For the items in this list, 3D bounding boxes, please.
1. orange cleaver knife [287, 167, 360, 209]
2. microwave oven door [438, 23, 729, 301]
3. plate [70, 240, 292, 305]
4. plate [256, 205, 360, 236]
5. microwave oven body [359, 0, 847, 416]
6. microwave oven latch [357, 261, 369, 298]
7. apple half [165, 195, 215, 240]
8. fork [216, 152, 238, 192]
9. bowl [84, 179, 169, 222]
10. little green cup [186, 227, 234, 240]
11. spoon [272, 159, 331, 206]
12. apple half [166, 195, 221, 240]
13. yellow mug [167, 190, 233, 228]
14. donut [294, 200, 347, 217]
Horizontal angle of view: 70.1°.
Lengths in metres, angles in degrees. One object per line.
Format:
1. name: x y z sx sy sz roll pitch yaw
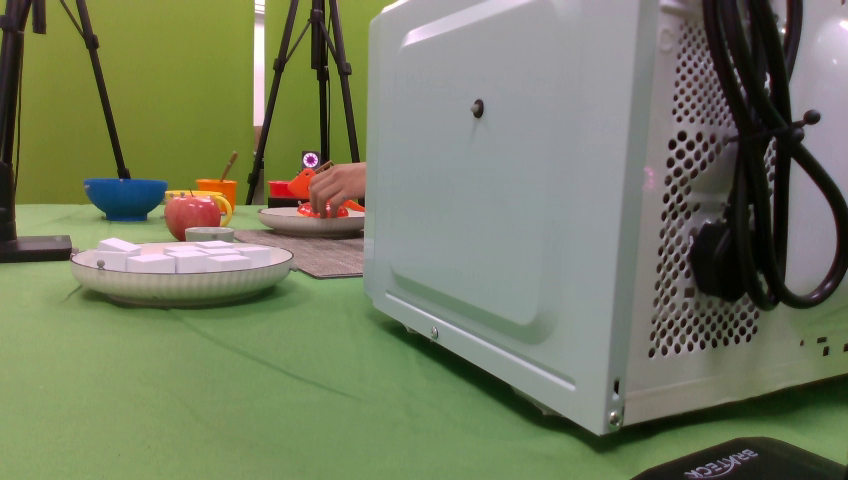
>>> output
1. orange cleaver knife: -0.210 -0.089 1.383 0.212 0.077 0.012 31 4 -15
2. microwave oven door: 0.181 -0.072 0.620 0.358 0.243 0.039 -2 8 -29
3. plate: -0.242 0.031 0.618 0.208 0.039 0.207 2 8 0
4. plate: -0.202 -0.037 1.120 0.209 0.038 0.209 3 8 0
5. microwave oven body: 0.211 -0.047 0.474 0.444 0.260 0.324 -1 7 -28
6. microwave oven latch: -0.019 0.033 0.529 0.079 0.029 0.030 0 7 -25
7. apple half: -0.377 -0.038 0.964 0.082 0.081 0.032 -4 15 -39
8. fork: -0.455 -0.132 1.366 0.028 0.018 0.207 -2 -35 -37
9. bowl: -0.584 -0.078 1.194 0.151 0.077 0.151 3 8 0
10. little green cup: -0.285 0.005 0.805 0.061 0.038 0.061 2 8 0
11. spoon: -0.308 -0.141 1.513 0.193 0.021 0.041 -42 0 8
12. apple half: -0.352 -0.031 0.935 0.081 0.074 0.053 1 11 -40
13. yellow mug: -0.415 -0.057 1.132 0.130 0.064 0.100 6 8 16
14. donut: -0.193 -0.049 1.133 0.099 0.048 0.099 4 8 0
